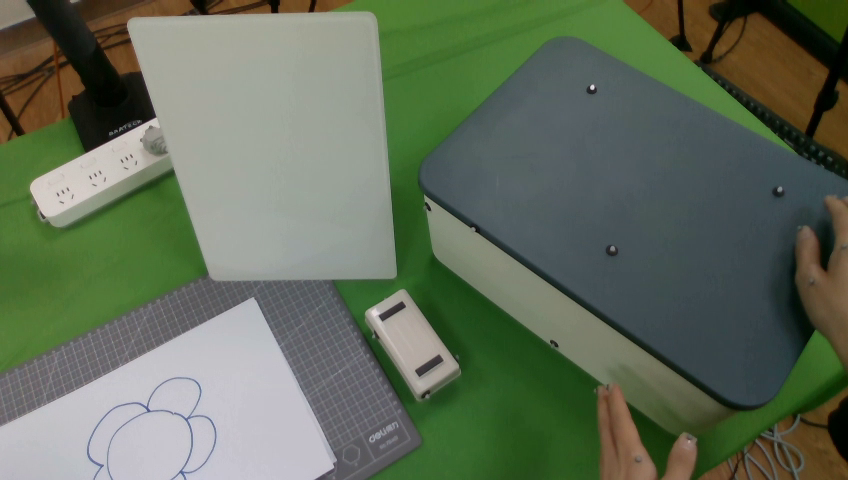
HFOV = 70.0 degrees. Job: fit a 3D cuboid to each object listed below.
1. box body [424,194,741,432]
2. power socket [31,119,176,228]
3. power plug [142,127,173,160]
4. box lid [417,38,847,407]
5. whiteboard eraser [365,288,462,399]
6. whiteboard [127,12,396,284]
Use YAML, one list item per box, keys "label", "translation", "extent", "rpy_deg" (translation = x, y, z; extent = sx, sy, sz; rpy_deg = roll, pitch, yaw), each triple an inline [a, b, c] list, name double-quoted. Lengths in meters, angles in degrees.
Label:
- label: "box body"
  translation: [0.206, -0.007, 0.638]
  extent: [0.361, 0.162, 0.253]
  rpy_deg: [36, 66, 20]
- label: "power socket"
  translation: [-0.388, -0.093, 0.778]
  extent: [0.227, 0.033, 0.071]
  rpy_deg: [-32, 65, -17]
- label: "power plug"
  translation: [-0.329, -0.110, 0.761]
  extent: [0.035, 0.053, 0.072]
  rpy_deg: [-23, 68, -12]
- label: "box lid"
  translation: [0.202, -0.047, 0.575]
  extent: [0.369, 0.015, 0.263]
  rpy_deg: [36, 67, 20]
- label: "whiteboard eraser"
  translation: [-0.013, 0.109, 0.646]
  extent: [0.055, 0.042, 0.111]
  rpy_deg: [-30, 63, -16]
- label: "whiteboard"
  translation: [-0.141, -0.112, 0.662]
  extent: [0.217, 0.308, 0.142]
  rpy_deg: [0, 39, 2]
